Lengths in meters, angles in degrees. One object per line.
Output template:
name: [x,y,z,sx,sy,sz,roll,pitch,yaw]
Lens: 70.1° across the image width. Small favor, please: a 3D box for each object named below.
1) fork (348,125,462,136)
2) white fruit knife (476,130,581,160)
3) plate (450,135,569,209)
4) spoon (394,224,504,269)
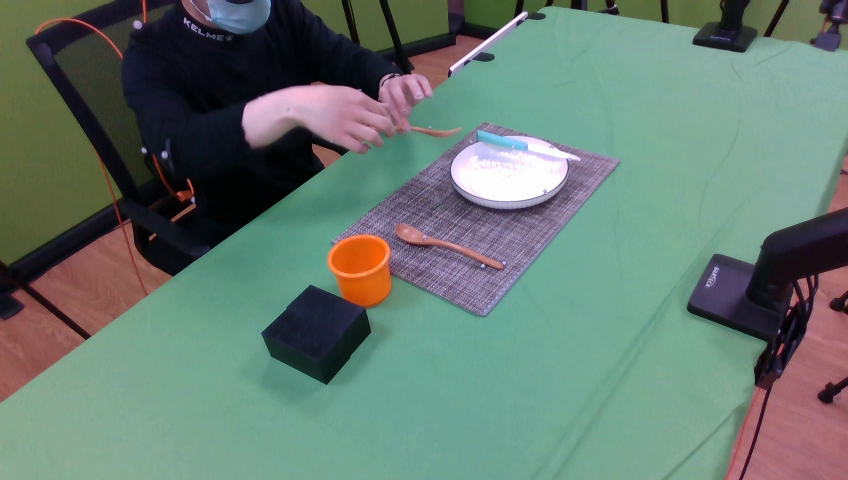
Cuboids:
fork: [-0.029,-0.185,1.019,0.209,0.018,0.028,-4,-3,-25]
white fruit knife: [0.184,-0.170,1.089,0.206,0.016,0.027,18,42,25]
plate: [0.149,-0.117,1.066,0.209,0.038,0.208,-3,41,3]
spoon: [0.037,0.010,0.945,0.192,0.022,0.042,18,29,26]
